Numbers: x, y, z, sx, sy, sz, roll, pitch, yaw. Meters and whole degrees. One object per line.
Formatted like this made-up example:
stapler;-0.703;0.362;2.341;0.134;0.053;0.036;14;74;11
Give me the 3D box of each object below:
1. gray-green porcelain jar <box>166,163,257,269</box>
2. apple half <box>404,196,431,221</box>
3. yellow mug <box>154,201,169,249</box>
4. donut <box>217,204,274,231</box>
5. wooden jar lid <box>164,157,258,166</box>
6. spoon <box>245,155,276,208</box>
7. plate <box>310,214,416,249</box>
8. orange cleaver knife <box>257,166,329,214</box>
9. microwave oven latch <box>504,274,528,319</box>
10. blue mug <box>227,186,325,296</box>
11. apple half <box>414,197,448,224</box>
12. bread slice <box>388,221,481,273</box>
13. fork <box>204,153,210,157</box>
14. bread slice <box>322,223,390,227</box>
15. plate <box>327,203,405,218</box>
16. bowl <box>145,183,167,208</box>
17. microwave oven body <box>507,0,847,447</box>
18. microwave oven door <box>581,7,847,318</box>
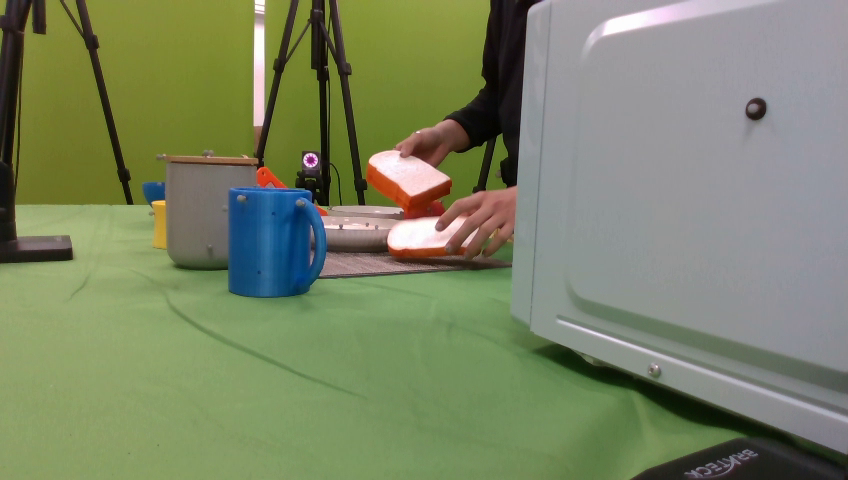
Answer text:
gray-green porcelain jar;-0.263;-0.031;0.754;0.106;0.126;0.106;2;7;0
apple half;-0.006;-0.048;1.150;0.081;0.074;0.053;-7;7;-40
yellow mug;-0.337;-0.022;0.899;0.130;0.064;0.100;8;9;34
donut;-0.318;-0.038;1.080;0.099;0.048;0.099;3;7;0
wooden jar lid;-0.261;-0.093;0.746;0.108;0.020;0.108;0;9;0
spoon;-0.421;-0.150;1.540;0.042;0.021;0.193;-5;55;-37
plate;-0.116;-0.014;0.967;0.208;0.039;0.207;2;7;0
orange cleaver knife;-0.296;-0.086;1.333;0.012;0.077;0.212;2;-24;46
microwave oven latch;0.100;0.041;0.471;0.079;0.029;0.030;-1;7;-27
blue mug;-0.147;0.000;0.618;0.116;0.106;0.083;7;9;32
apple half;0.021;-0.044;1.121;0.082;0.081;0.032;-4;4;-39
bread slice;0.015;0.007;0.855;0.131;0.019;0.105;7;31;1
fork;-0.480;-0.136;1.412;0.028;0.018;0.207;1;-34;-1
bread slice;-0.116;-0.014;0.975;0.135;0.018;0.106;-6;11;-42
plate;-0.102;-0.053;1.299;0.209;0.038;0.209;2;8;0
bowl;-0.459;-0.069;1.175;0.151;0.077;0.151;3;7;0
microwave oven body;0.331;-0.042;0.425;0.444;0.260;0.324;-2;8;-31
microwave oven door;0.295;-0.067;0.569;0.358;0.243;0.039;-3;8;-31
